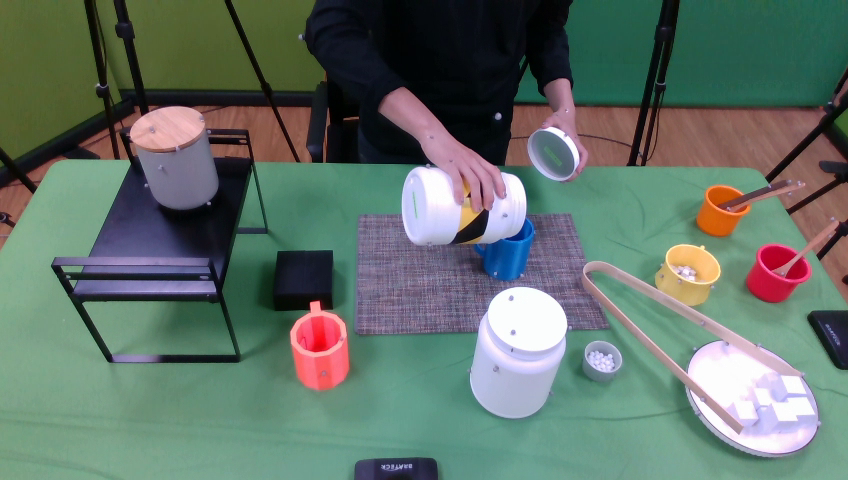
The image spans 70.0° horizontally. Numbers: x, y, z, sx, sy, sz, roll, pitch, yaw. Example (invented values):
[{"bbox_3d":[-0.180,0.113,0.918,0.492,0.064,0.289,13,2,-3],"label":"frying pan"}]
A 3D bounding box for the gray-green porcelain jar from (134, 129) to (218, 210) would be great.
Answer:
[{"bbox_3d":[-0.388,-0.120,0.960,0.106,0.127,0.105,2,46,-2],"label":"gray-green porcelain jar"}]

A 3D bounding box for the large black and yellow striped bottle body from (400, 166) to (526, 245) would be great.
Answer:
[{"bbox_3d":[0.065,-0.059,1.018,0.184,0.131,0.130,-2,46,-22],"label":"large black and yellow striped bottle body"}]

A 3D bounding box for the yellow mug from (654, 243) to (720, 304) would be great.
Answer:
[{"bbox_3d":[0.504,0.054,1.154,0.099,0.064,0.130,28,50,22],"label":"yellow mug"}]

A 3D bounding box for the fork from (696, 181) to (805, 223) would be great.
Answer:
[{"bbox_3d":[0.659,-0.077,1.232,0.207,0.019,0.028,-26,35,34],"label":"fork"}]

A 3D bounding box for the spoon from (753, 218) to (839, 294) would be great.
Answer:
[{"bbox_3d":[0.700,0.031,1.138,0.194,0.022,0.041,-47,55,14],"label":"spoon"}]

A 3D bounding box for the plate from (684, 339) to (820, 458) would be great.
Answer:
[{"bbox_3d":[0.523,0.256,0.982,0.208,0.039,0.206,2,46,-2],"label":"plate"}]

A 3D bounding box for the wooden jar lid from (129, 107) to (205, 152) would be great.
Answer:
[{"bbox_3d":[-0.385,-0.163,0.915,0.108,0.021,0.107,2,47,-2],"label":"wooden jar lid"}]

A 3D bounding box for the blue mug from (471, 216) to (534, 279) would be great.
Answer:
[{"bbox_3d":[0.141,0.005,1.140,0.116,0.106,0.082,18,48,13],"label":"blue mug"}]

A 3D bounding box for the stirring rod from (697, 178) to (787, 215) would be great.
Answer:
[{"bbox_3d":[0.650,-0.088,1.245,0.006,0.176,0.014,29,49,-39],"label":"stirring rod"}]

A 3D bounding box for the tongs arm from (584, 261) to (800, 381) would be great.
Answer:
[{"bbox_3d":[0.452,0.137,1.064,0.051,0.027,0.382,-34,50,-27],"label":"tongs arm"}]

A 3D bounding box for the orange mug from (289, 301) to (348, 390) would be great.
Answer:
[{"bbox_3d":[-0.170,0.162,0.976,0.083,0.101,0.125,-8,52,-11],"label":"orange mug"}]

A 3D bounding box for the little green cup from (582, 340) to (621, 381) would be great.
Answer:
[{"bbox_3d":[0.295,0.204,1.014,0.061,0.039,0.061,2,45,-2],"label":"little green cup"}]

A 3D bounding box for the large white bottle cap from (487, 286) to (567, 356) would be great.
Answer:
[{"bbox_3d":[0.147,0.114,0.869,0.115,0.018,0.114,3,46,-3],"label":"large white bottle cap"}]

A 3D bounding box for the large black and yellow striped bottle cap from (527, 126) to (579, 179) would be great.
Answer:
[{"bbox_3d":[0.256,-0.174,1.204,0.114,0.115,0.019,35,62,26],"label":"large black and yellow striped bottle cap"}]

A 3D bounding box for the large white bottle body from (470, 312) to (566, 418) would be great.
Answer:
[{"bbox_3d":[0.143,0.173,0.930,0.131,0.185,0.130,2,46,-2],"label":"large white bottle body"}]

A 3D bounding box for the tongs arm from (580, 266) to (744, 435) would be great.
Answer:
[{"bbox_3d":[0.384,0.173,1.028,0.028,0.028,0.385,-25,46,-15],"label":"tongs arm"}]
